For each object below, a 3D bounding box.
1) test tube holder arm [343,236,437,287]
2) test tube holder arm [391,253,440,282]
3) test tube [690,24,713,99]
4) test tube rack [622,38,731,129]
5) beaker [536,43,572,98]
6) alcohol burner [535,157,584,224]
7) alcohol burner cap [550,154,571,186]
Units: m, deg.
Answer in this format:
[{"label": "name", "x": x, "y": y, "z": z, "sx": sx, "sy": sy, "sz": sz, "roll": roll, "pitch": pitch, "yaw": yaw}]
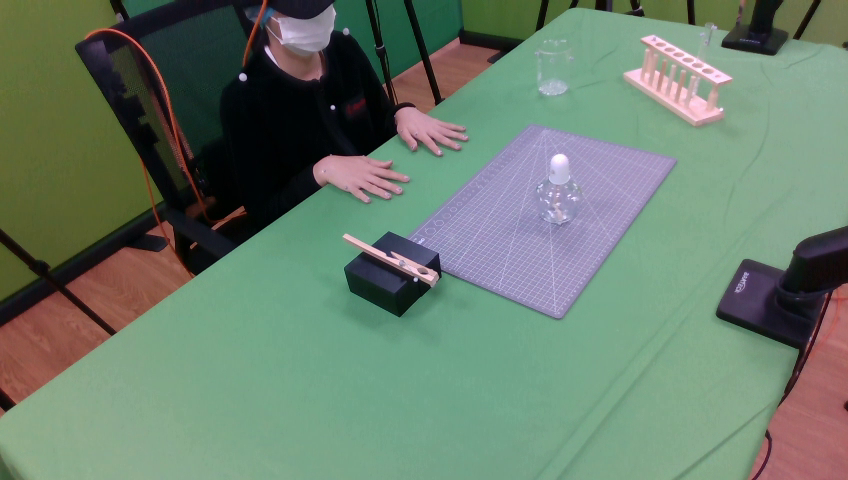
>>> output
[{"label": "test tube holder arm", "x": -0.054, "y": 0.029, "z": 0.879, "sx": 0.177, "sy": 0.015, "sz": 0.013, "roll": 22, "pitch": 56, "yaw": 32}, {"label": "test tube holder arm", "x": -0.015, "y": 0.039, "z": 0.858, "sx": 0.087, "sy": 0.015, "sz": 0.010, "roll": 22, "pitch": 57, "yaw": 32}, {"label": "test tube", "x": 0.534, "y": -0.342, "z": 1.172, "sx": 0.017, "sy": 0.151, "sz": 0.017, "roll": -3, "pitch": 41, "yaw": 3}, {"label": "test tube rack", "x": 0.506, "y": -0.325, "z": 1.234, "sx": 0.067, "sy": 0.085, "sz": 0.240, "roll": -18, "pitch": 41, "yaw": -11}, {"label": "beaker", "x": 0.280, "y": -0.368, "z": 1.311, "sx": 0.074, "sy": 0.101, "sz": 0.084, "roll": 4, "pitch": 41, "yaw": 14}, {"label": "alcohol burner", "x": 0.217, "y": -0.085, "z": 0.967, "sx": 0.078, "sy": 0.119, "sz": 0.077, "roll": -3, "pitch": 41, "yaw": 3}, {"label": "alcohol burner cap", "x": 0.212, "y": -0.112, "z": 0.944, "sx": 0.034, "sy": 0.048, "sz": 0.033, "roll": -6, "pitch": 44, "yaw": 7}]
